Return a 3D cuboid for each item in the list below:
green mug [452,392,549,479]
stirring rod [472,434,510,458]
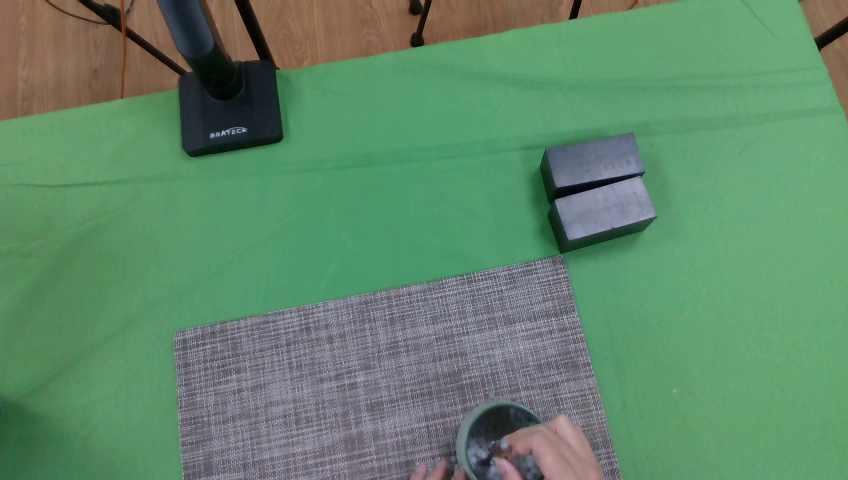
[{"bbox_3d":[0.082,0.208,0.584,0.092,0.105,0.124,-28,74,-6],"label":"green mug"},{"bbox_3d":[0.056,0.181,0.529,0.014,0.177,0.006,11,67,4],"label":"stirring rod"}]
